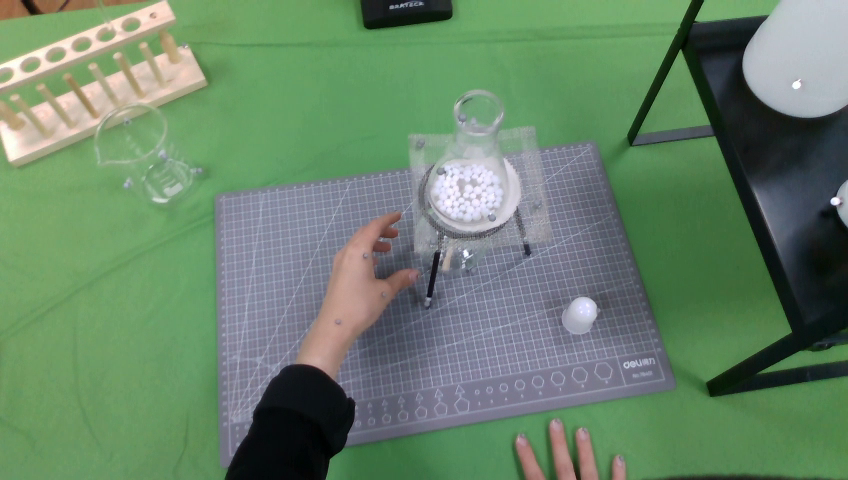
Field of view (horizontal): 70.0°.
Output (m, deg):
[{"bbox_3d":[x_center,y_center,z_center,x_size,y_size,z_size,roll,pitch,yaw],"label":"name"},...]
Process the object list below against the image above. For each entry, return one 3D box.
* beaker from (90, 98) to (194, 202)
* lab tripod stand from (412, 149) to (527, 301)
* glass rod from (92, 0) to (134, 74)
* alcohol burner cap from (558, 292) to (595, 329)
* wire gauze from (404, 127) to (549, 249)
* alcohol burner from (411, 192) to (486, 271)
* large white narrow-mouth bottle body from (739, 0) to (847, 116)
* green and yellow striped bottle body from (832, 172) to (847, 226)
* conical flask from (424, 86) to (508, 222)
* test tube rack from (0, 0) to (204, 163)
[{"bbox_3d":[-0.304,-0.091,0.661,0.073,0.101,0.084,35,71,16],"label":"beaker"},{"bbox_3d":[0.039,-0.019,0.606,0.148,0.132,0.147,1,64,-1],"label":"lab tripod stand"},{"bbox_3d":[-0.357,-0.254,0.668,0.008,0.201,0.008,2,63,-4],"label":"glass rod"},{"bbox_3d":[0.157,0.069,0.616,0.034,0.048,0.033,0,66,0],"label":"alcohol burner cap"},{"bbox_3d":[0.045,-0.052,0.548,0.121,0.011,0.124,-3,64,-4],"label":"wire gauze"},{"bbox_3d":[0.026,-0.015,0.615,0.078,0.120,0.077,1,65,-1],"label":"alcohol burner"},{"bbox_3d":[0.327,-0.189,0.455,0.102,0.196,0.101,0,63,0],"label":"large white narrow-mouth bottle body"},{"bbox_3d":[0.358,-0.052,0.433,0.063,0.120,0.062,0,66,1],"label":"green and yellow striped bottle body"},{"bbox_3d":[0.037,-0.072,0.492,0.075,0.123,0.075,0,65,0],"label":"conical flask"},{"bbox_3d":[-0.398,-0.187,0.711,0.242,0.086,0.066,-27,69,-12],"label":"test tube rack"}]
